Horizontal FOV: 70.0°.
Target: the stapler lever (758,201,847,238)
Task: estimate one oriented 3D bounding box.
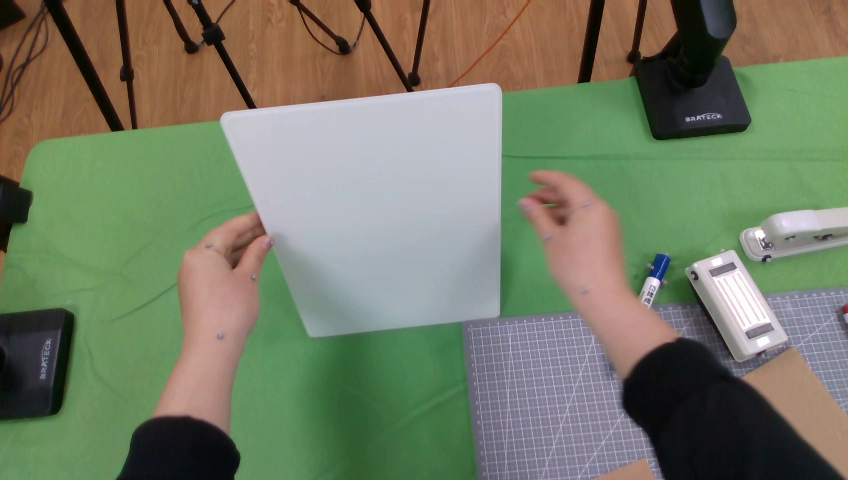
[{"bbox_3d":[0.429,-0.024,0.668,0.118,0.040,0.026,-11,69,-2],"label":"stapler lever"}]

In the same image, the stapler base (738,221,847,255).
[{"bbox_3d":[0.429,-0.014,0.690,0.131,0.024,0.041,-10,70,-3],"label":"stapler base"}]

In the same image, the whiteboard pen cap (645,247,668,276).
[{"bbox_3d":[0.261,0.026,0.681,0.018,0.018,0.033,25,69,13],"label":"whiteboard pen cap"}]

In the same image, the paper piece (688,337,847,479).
[{"bbox_3d":[0.363,0.189,0.613,0.136,0.009,0.137,-28,70,-4],"label":"paper piece"}]

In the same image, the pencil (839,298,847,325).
[{"bbox_3d":[0.468,0.152,0.622,0.012,0.012,0.192,-9,69,-1],"label":"pencil"}]

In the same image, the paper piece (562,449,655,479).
[{"bbox_3d":[0.179,0.289,0.579,0.135,0.004,0.134,-19,68,-5],"label":"paper piece"}]

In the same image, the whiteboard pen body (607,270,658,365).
[{"bbox_3d":[0.233,0.073,0.663,0.017,0.017,0.140,26,71,14],"label":"whiteboard pen body"}]

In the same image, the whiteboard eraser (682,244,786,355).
[{"bbox_3d":[0.329,0.063,0.649,0.055,0.042,0.111,-20,67,-4],"label":"whiteboard eraser"}]

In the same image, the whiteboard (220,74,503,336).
[{"bbox_3d":[-0.039,-0.057,0.611,0.217,0.308,0.142,-5,47,1],"label":"whiteboard"}]
